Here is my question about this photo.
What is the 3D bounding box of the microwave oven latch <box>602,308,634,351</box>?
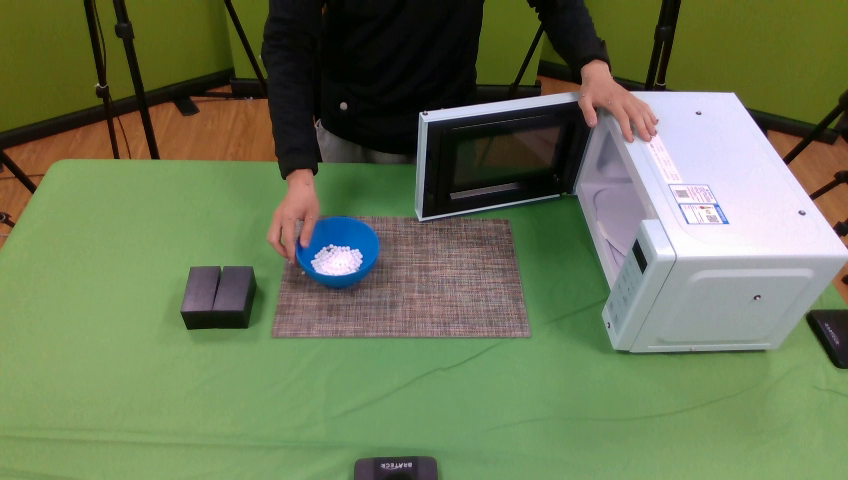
[{"bbox_3d":[0.332,0.153,1.044,0.030,0.029,0.078,-1,45,-4],"label":"microwave oven latch"}]

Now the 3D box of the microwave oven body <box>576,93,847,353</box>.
[{"bbox_3d":[0.475,-0.041,1.109,0.326,0.261,0.438,-1,45,-4],"label":"microwave oven body"}]

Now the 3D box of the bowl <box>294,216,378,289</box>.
[{"bbox_3d":[-0.158,0.036,1.110,0.151,0.077,0.150,2,45,-2],"label":"bowl"}]

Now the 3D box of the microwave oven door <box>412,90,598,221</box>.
[{"bbox_3d":[0.156,-0.165,1.198,0.356,0.245,0.039,-11,48,-14],"label":"microwave oven door"}]
